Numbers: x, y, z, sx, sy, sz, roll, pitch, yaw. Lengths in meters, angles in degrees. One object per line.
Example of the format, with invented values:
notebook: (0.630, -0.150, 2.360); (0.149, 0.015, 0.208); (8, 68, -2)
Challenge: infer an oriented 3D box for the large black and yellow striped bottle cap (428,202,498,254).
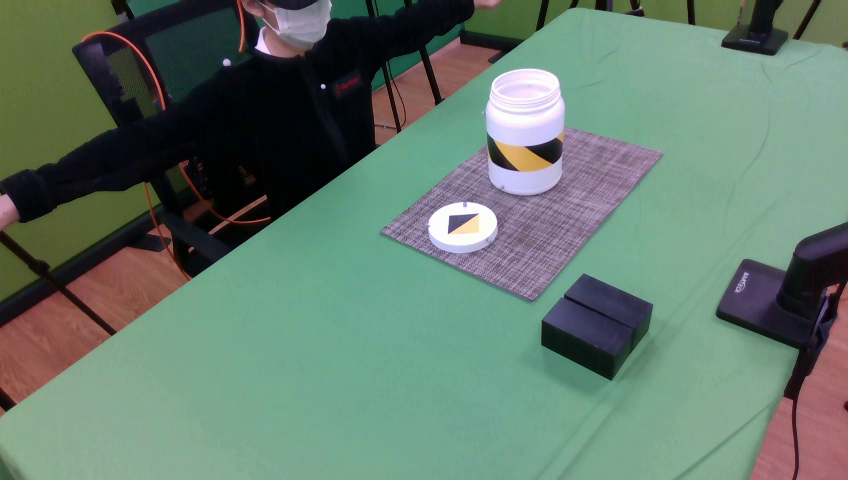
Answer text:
large black and yellow striped bottle cap: (0.064, -0.022, 0.990); (0.115, 0.019, 0.114); (-4, 42, 4)

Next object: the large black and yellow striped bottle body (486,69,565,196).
large black and yellow striped bottle body: (0.173, -0.183, 1.033); (0.131, 0.185, 0.130); (-5, 41, 5)
